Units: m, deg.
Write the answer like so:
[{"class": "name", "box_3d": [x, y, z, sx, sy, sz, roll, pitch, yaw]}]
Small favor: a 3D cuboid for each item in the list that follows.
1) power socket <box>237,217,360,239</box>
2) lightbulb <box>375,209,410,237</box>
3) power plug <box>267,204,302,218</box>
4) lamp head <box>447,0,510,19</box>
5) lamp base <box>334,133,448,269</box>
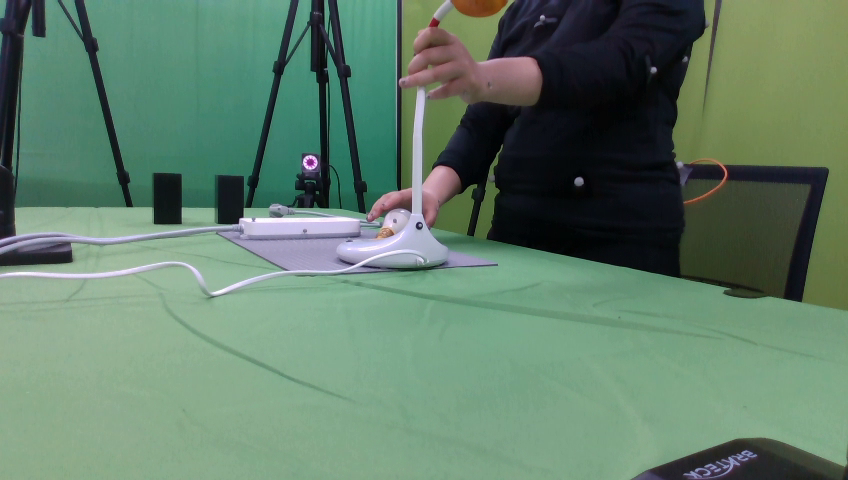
[{"class": "power socket", "box_3d": [-0.220, -0.023, 1.080, 0.228, 0.032, 0.072, -2, 8, -33]}, {"class": "lightbulb", "box_3d": [-0.052, -0.016, 1.023, 0.059, 0.059, 0.108, 6, 23, 22]}, {"class": "power plug", "box_3d": [-0.327, -0.061, 1.404, 0.073, 0.035, 0.052, 22, -13, -26]}, {"class": "lamp head", "box_3d": [0.062, -0.323, 0.705, 0.112, 0.122, 0.112, 6, -4, 1]}, {"class": "lamp base", "box_3d": [-0.034, -0.057, 0.831, 0.161, 0.180, 0.178, -2, 11, -36]}]
